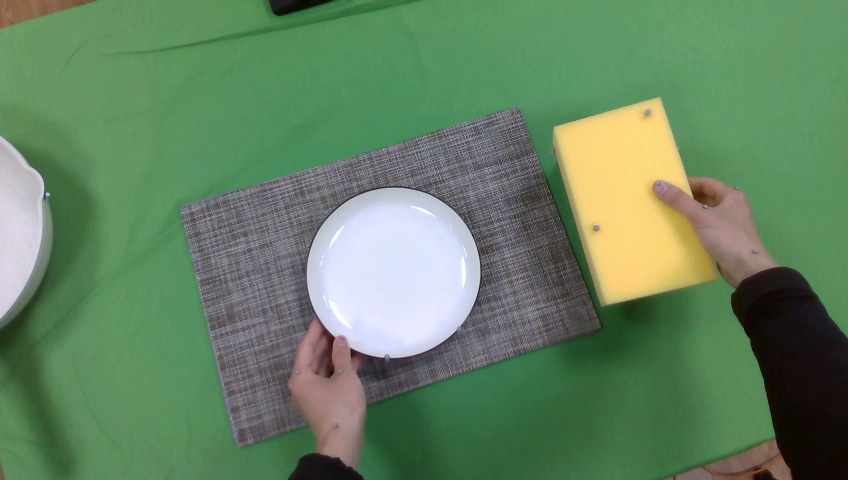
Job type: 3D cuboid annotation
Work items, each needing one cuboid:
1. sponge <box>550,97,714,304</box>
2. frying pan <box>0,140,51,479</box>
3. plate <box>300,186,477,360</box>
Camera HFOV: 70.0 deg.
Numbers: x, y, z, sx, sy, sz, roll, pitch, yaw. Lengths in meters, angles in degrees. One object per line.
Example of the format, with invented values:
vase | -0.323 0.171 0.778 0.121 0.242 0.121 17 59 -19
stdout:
sponge | 0.226 -0.041 0.677 0.118 0.061 0.206 -16 80 7
frying pan | -0.538 0.091 0.683 0.307 0.103 0.484 -25 71 -4
plate | -0.041 0.040 0.724 0.208 0.039 0.206 0 79 0
